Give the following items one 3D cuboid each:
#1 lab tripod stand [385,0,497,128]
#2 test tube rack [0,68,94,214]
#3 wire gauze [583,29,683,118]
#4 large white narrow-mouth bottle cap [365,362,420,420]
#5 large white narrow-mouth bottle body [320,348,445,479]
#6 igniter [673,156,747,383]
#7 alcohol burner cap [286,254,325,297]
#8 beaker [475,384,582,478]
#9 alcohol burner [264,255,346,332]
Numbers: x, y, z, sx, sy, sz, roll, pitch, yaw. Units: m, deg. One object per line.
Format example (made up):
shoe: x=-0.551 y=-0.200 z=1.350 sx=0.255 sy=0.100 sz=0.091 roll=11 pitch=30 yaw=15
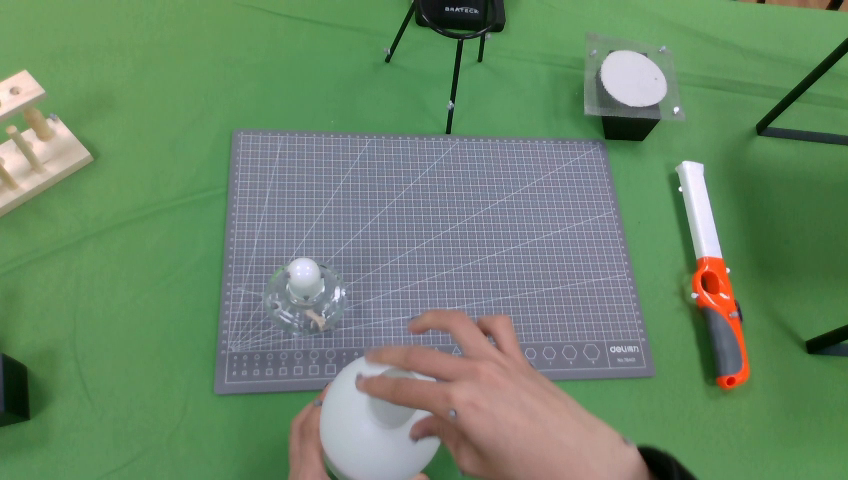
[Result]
lab tripod stand: x=0.028 y=-0.227 z=0.705 sx=0.149 sy=0.132 sz=0.147 roll=4 pitch=66 yaw=-9
test tube rack: x=-0.457 y=-0.056 z=0.576 sx=0.242 sy=0.085 sz=0.066 roll=-40 pitch=78 yaw=-22
wire gauze: x=0.254 y=-0.204 z=0.746 sx=0.122 sy=0.011 sz=0.124 roll=7 pitch=65 yaw=-6
large white narrow-mouth bottle cap: x=-0.022 y=0.102 z=0.410 sx=0.038 sy=0.024 sz=0.037 roll=3 pitch=65 yaw=-7
large white narrow-mouth bottle body: x=-0.035 y=0.144 z=0.497 sx=0.102 sy=0.195 sz=0.101 roll=3 pitch=65 yaw=-7
igniter: x=0.328 y=0.026 z=0.699 sx=0.057 sy=0.025 sz=0.274 roll=7 pitch=66 yaw=-18
alcohol burner cap: x=-0.106 y=0.030 z=0.536 sx=0.034 sy=0.048 sz=0.033 roll=2 pitch=71 yaw=-5
beaker: x=0.088 y=0.179 z=0.554 sx=0.084 sy=0.101 sz=0.073 roll=5 pitch=65 yaw=-6
alcohol burner: x=-0.111 y=0.044 z=0.570 sx=0.078 sy=0.119 sz=0.077 roll=5 pitch=64 yaw=-9
